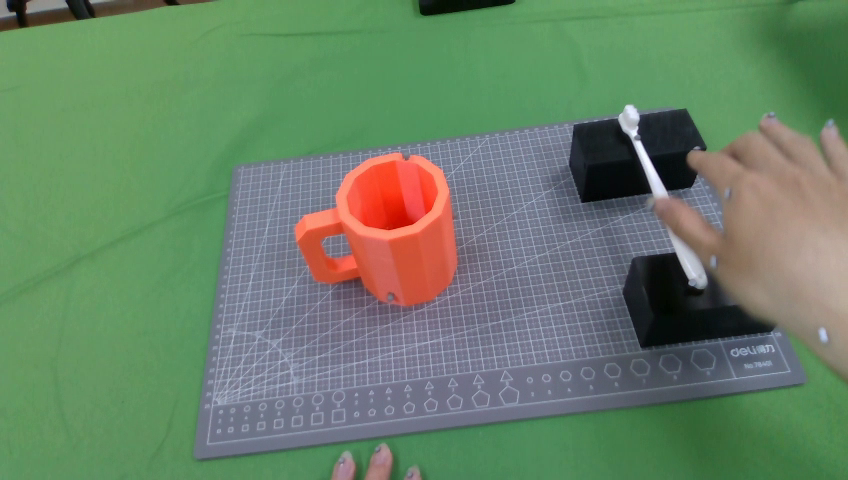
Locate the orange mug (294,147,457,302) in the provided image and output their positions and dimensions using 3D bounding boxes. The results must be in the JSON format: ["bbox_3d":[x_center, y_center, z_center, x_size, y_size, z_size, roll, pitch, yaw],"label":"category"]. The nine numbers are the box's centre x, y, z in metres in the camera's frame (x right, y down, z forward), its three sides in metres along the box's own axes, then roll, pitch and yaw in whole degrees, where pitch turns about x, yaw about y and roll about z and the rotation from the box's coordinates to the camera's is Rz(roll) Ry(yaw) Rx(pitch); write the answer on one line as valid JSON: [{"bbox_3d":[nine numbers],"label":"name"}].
[{"bbox_3d":[-0.036,-0.007,0.488,0.126,0.102,0.082,-12,54,-7],"label":"orange mug"}]

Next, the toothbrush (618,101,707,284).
[{"bbox_3d":[0.186,-0.044,0.476,0.014,0.017,0.180,-2,55,-9],"label":"toothbrush"}]
